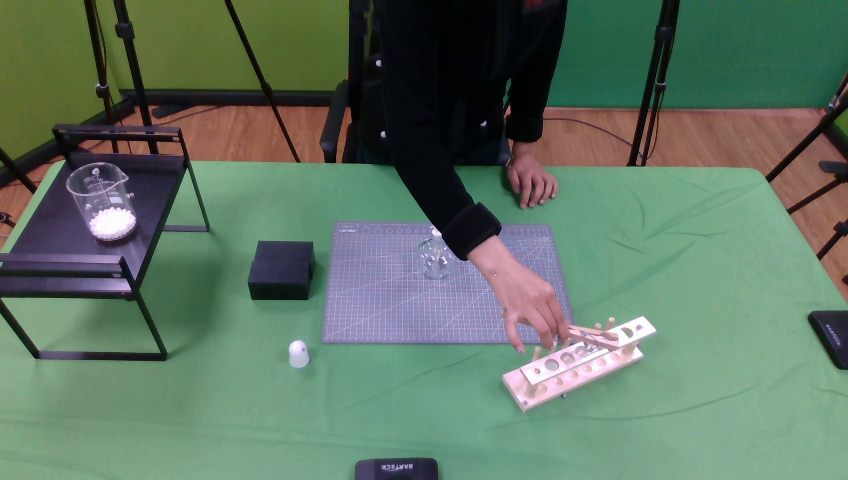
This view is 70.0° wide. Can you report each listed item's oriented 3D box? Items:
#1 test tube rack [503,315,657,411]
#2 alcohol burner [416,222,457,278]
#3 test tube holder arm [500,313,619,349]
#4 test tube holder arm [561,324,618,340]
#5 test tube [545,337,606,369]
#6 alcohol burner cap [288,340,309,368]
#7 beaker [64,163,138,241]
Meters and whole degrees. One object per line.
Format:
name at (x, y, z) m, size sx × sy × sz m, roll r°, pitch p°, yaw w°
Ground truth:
test tube rack at (0.253, 0.186, 0.989) m, size 0.242 × 0.085 × 0.066 m, roll -18°, pitch 50°, yaw -20°
alcohol burner at (0.024, 0.014, 1.116) m, size 0.078 × 0.120 × 0.077 m, roll 1°, pitch 45°, yaw -1°
test tube holder arm at (0.194, 0.129, 0.861) m, size 0.179 × 0.015 × 0.013 m, roll 13°, pitch 42°, yaw -10°
test tube holder arm at (0.237, 0.135, 0.874) m, size 0.088 × 0.015 × 0.010 m, roll 11°, pitch 43°, yaw -13°
test tube at (0.225, 0.180, 0.934) m, size 0.017 × 0.150 × 0.017 m, roll 17°, pitch 56°, yaw -27°
alcohol burner cap at (-0.207, 0.183, 0.991) m, size 0.034 × 0.048 × 0.033 m, roll 2°, pitch 47°, yaw -2°
beaker at (-0.477, -0.055, 0.910) m, size 0.084 × 0.101 × 0.073 m, roll -9°, pitch 48°, yaw -13°
